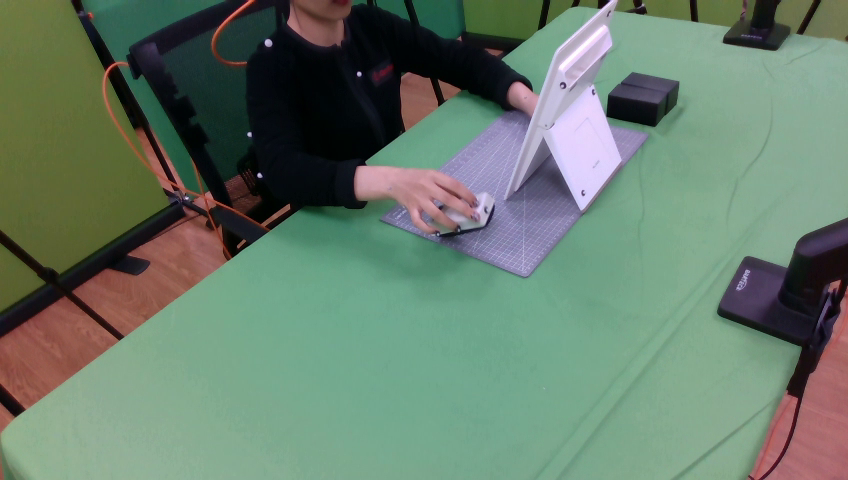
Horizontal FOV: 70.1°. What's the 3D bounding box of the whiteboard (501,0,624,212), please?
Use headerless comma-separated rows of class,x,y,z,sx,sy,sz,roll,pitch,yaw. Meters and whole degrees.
whiteboard,0.271,-0.190,0.977,0.143,0.306,0.218,34,54,16

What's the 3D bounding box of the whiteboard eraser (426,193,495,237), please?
whiteboard eraser,0.059,-0.037,0.950,0.112,0.042,0.055,-10,47,42
